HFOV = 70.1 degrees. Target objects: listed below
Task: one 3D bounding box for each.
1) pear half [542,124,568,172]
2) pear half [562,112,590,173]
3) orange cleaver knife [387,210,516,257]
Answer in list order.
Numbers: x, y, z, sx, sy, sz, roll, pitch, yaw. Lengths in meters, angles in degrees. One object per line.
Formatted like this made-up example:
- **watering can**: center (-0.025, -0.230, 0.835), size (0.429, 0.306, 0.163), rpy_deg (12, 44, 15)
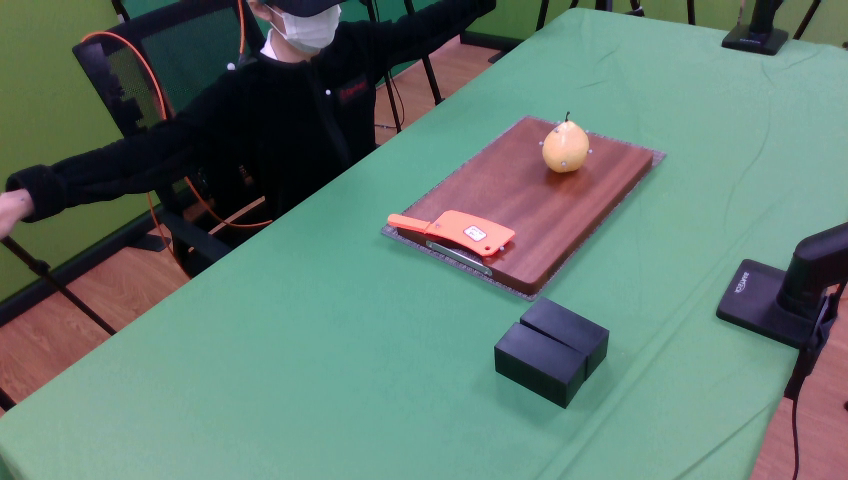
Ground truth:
- **pear half**: center (0.220, -0.155, 1.028), size (0.031, 0.088, 0.070), rpy_deg (-18, 46, -12)
- **pear half**: center (0.253, -0.172, 1.027), size (0.056, 0.110, 0.075), rpy_deg (-18, 46, -11)
- **orange cleaver knife**: center (0.040, -0.020, 0.953), size (0.210, 0.012, 0.077), rpy_deg (16, 48, 29)
